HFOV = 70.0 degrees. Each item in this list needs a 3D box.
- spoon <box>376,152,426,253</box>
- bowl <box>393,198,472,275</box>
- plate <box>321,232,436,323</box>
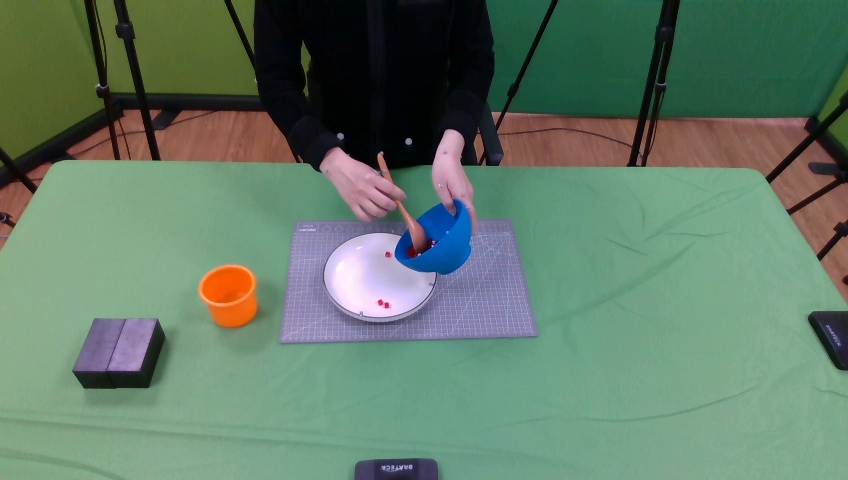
[{"bbox_3d":[-0.041,-0.062,1.037,0.021,0.194,0.041,-11,25,41],"label":"spoon"},{"bbox_3d":[0.029,0.007,1.040,0.151,0.077,0.150,-35,23,17],"label":"bowl"},{"bbox_3d":[-0.083,0.070,1.109,0.209,0.038,0.208,3,46,-2],"label":"plate"}]
